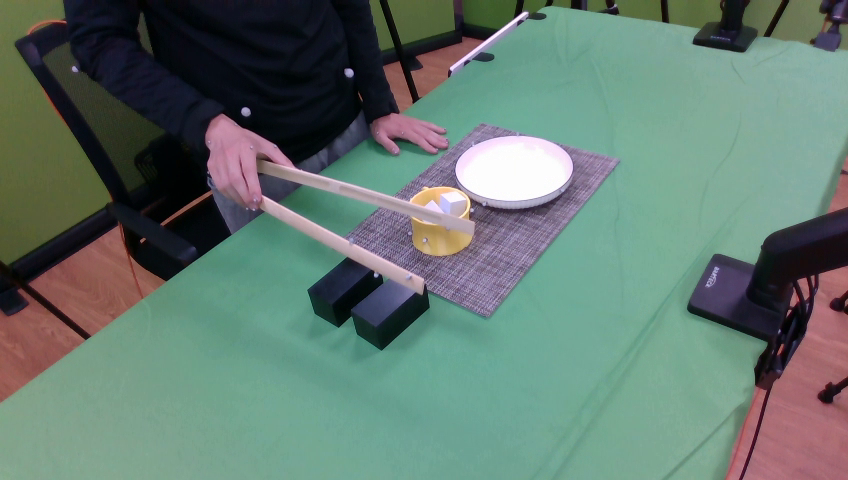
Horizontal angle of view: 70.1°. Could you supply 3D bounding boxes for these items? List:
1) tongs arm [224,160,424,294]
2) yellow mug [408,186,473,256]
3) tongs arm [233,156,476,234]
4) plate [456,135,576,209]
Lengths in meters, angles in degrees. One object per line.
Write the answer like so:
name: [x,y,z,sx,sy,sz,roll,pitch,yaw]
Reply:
tongs arm: [-0.146,-0.026,0.831,0.382,0.026,0.051,25,47,24]
yellow mug: [0.021,-0.041,0.973,0.100,0.064,0.129,-19,41,-12]
tongs arm: [-0.107,-0.068,0.882,0.386,0.028,0.028,16,47,15]
plate: [0.161,-0.116,1.064,0.207,0.039,0.206,-4,40,4]
